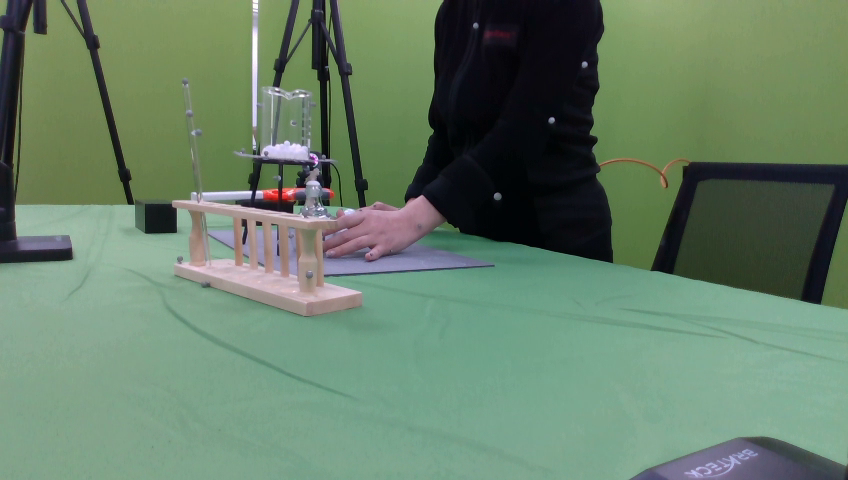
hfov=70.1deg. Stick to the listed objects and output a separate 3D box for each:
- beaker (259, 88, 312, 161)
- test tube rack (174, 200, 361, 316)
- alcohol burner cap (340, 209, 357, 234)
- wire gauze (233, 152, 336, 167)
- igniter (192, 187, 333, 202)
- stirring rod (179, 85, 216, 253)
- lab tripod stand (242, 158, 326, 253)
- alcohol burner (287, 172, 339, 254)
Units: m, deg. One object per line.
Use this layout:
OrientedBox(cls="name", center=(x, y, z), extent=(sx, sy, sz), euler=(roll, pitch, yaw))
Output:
OrientedBox(cls="beaker", center=(-0.201, -0.166, 0.876), extent=(0.074, 0.100, 0.083), euler=(1, 7, -18))
OrientedBox(cls="test tube rack", center=(-0.169, 0.009, 0.622), extent=(0.241, 0.085, 0.067), euler=(9, 9, 41))
OrientedBox(cls="alcohol burner cap", center=(-0.142, -0.035, 1.136), extent=(0.034, 0.048, 0.034), euler=(2, 7, 0))
OrientedBox(cls="wire gauze", center=(-0.205, -0.118, 0.887), extent=(0.122, 0.011, 0.124), euler=(2, 4, -32))
OrientedBox(cls="igniter", center=(-0.316, -0.090, 1.214), extent=(0.278, 0.025, 0.057), euler=(-5, 12, -31))
OrientedBox(cls="stirring rod", center=(-0.237, -0.073, 0.634), extent=(0.006, 0.176, 0.014), euler=(1, 10, 43))
OrientedBox(cls="lab tripod stand", center=(-0.207, -0.054, 0.895), extent=(0.148, 0.131, 0.148), euler=(3, 5, 0))
OrientedBox(cls="alcohol burner", center=(-0.162, -0.040, 0.877), extent=(0.078, 0.119, 0.078), euler=(1, 6, 0))
